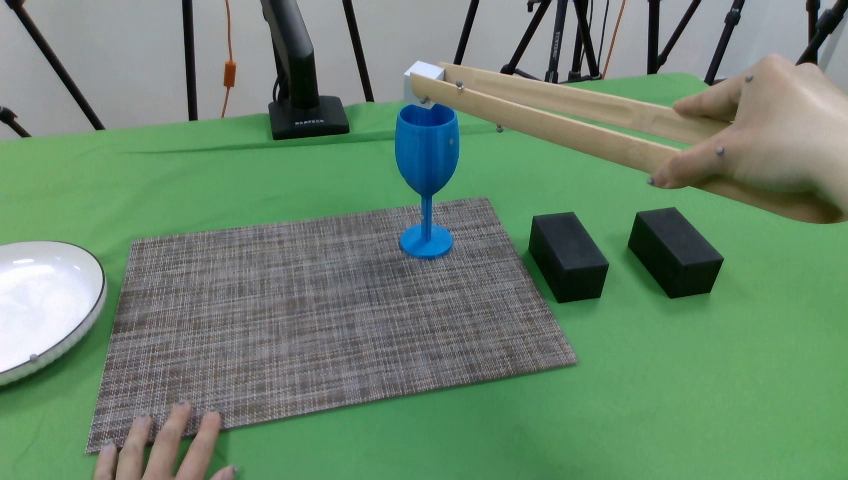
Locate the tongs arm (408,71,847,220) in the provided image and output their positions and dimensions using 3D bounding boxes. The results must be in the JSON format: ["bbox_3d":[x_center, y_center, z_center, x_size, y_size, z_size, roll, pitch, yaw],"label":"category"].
[{"bbox_3d":[0.127,-0.091,0.478,0.051,0.027,0.381,-29,40,-30],"label":"tongs arm"}]

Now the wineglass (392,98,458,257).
[{"bbox_3d":[0.001,-0.068,0.687,0.074,0.174,0.073,1,39,0],"label":"wineglass"}]

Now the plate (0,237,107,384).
[{"bbox_3d":[-0.430,0.074,0.613,0.209,0.038,0.207,1,39,0],"label":"plate"}]

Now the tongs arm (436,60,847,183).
[{"bbox_3d":[0.145,-0.102,0.491,0.028,0.028,0.383,-29,40,-35],"label":"tongs arm"}]
